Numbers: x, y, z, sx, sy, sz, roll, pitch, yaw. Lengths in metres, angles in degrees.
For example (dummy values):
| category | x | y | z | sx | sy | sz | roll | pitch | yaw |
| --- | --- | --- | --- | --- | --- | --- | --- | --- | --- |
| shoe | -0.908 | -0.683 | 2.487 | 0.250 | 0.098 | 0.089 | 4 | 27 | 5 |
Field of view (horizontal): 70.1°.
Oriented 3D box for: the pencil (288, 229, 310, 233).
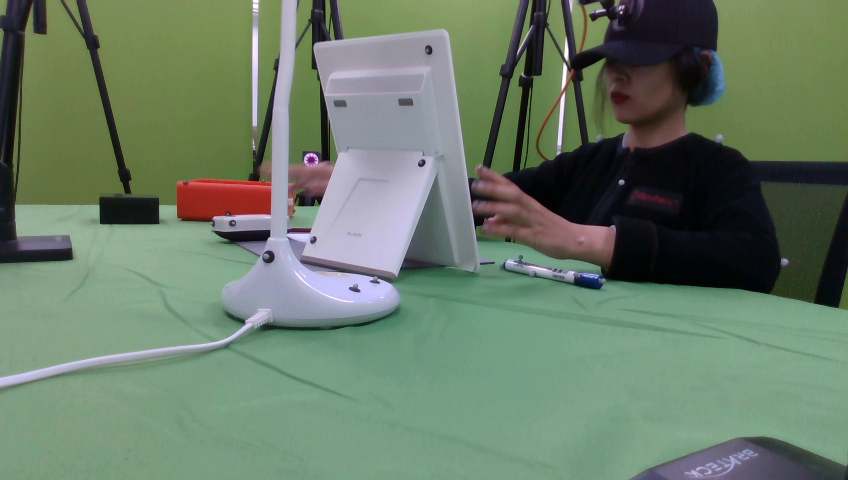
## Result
| category | x | y | z | sx | sy | sz | roll | pitch | yaw |
| --- | --- | --- | --- | --- | --- | --- | --- | --- | --- |
| pencil | -0.239 | -0.017 | 1.093 | 0.195 | 0.012 | 0.012 | 1 | 7 | -27 |

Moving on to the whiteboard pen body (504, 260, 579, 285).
| category | x | y | z | sx | sy | sz | roll | pitch | yaw |
| --- | --- | --- | --- | --- | --- | --- | --- | --- | --- |
| whiteboard pen body | 0.157 | 0.042 | 0.763 | 0.017 | 0.017 | 0.140 | -4 | 10 | -41 |

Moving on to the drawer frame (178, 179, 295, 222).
| category | x | y | z | sx | sy | sz | roll | pitch | yaw |
| --- | --- | --- | --- | --- | --- | --- | --- | --- | --- |
| drawer frame | -0.397 | -0.088 | 1.315 | 0.214 | 0.082 | 0.201 | 1 | 8 | -7 |

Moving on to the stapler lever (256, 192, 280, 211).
| category | x | y | z | sx | sy | sz | roll | pitch | yaw |
| --- | --- | --- | --- | --- | --- | --- | --- | --- | --- |
| stapler lever | -0.337 | -0.088 | 1.305 | 0.027 | 0.040 | 0.118 | 2 | 11 | -2 |

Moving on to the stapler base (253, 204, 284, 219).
| category | x | y | z | sx | sy | sz | roll | pitch | yaw |
| --- | --- | --- | --- | --- | --- | --- | --- | --- | --- |
| stapler base | -0.336 | -0.065 | 1.308 | 0.041 | 0.024 | 0.130 | 2 | 9 | -2 |

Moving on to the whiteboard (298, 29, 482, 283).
| category | x | y | z | sx | sy | sz | roll | pitch | yaw |
| --- | --- | --- | --- | --- | --- | --- | --- | --- | --- |
| whiteboard | -0.075 | -0.082 | 0.742 | 0.216 | 0.305 | 0.144 | 9 | 29 | 37 |

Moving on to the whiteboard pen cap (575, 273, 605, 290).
| category | x | y | z | sx | sy | sz | roll | pitch | yaw |
| --- | --- | --- | --- | --- | --- | --- | --- | --- | --- |
| whiteboard pen cap | 0.197 | 0.048 | 0.719 | 0.018 | 0.018 | 0.033 | -4 | 10 | -41 |

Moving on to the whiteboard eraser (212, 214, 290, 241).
| category | x | y | z | sx | sy | sz | roll | pitch | yaw |
| --- | --- | --- | --- | --- | --- | --- | --- | --- | --- |
| whiteboard eraser | -0.278 | -0.021 | 0.976 | 0.113 | 0.042 | 0.055 | -3 | 9 | -40 |

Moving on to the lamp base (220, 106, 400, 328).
| category | x | y | z | sx | sy | sz | roll | pitch | yaw |
| --- | --- | --- | --- | --- | --- | --- | --- | --- | --- |
| lamp base | -0.101 | -0.023 | 0.531 | 0.160 | 0.180 | 0.179 | 4 | 10 | 10 |

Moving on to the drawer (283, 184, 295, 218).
| category | x | y | z | sx | sy | sz | roll | pitch | yaw |
| --- | --- | --- | --- | --- | --- | --- | --- | --- | --- |
| drawer | -0.394 | -0.086 | 1.317 | 0.212 | 0.073 | 0.194 | 1 | 8 | -7 |
